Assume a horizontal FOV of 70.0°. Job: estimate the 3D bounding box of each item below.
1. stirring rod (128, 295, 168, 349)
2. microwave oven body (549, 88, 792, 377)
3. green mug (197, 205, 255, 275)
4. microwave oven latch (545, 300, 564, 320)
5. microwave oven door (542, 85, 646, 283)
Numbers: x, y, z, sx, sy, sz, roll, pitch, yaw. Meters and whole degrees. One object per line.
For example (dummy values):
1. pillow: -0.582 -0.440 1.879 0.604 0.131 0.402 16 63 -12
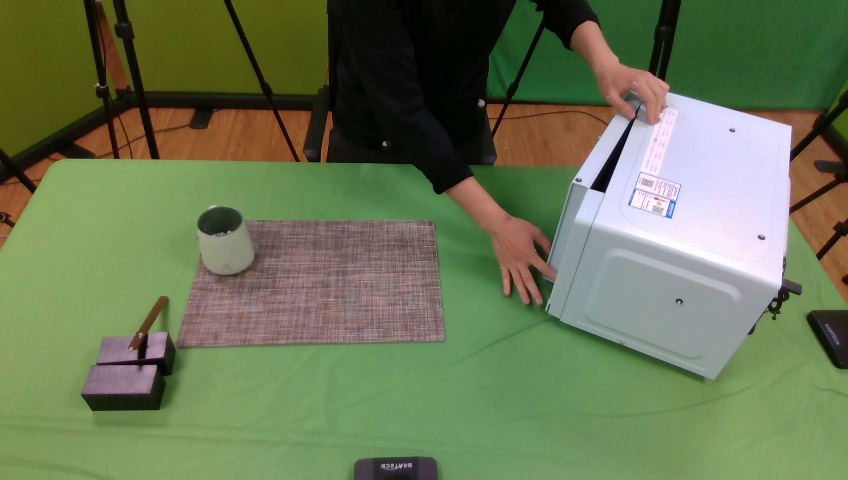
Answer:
1. stirring rod: -0.451 0.131 0.996 0.014 0.006 0.175 9 21 -10
2. microwave oven body: 0.456 -0.028 1.088 0.325 0.261 0.440 20 47 16
3. green mug: -0.370 -0.008 1.114 0.092 0.105 0.124 -19 50 -21
4. microwave oven latch: 0.246 0.106 1.077 0.030 0.029 0.079 31 51 25
5. microwave oven door: 0.329 -0.112 1.153 0.039 0.245 0.355 24 49 18
